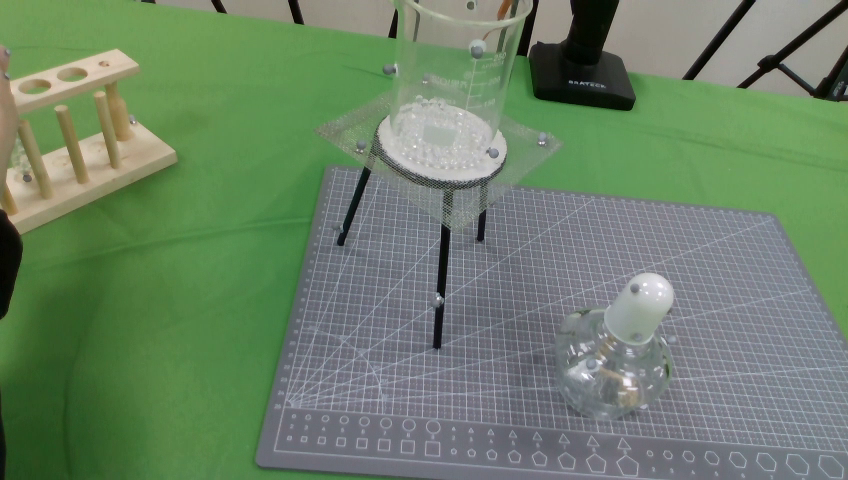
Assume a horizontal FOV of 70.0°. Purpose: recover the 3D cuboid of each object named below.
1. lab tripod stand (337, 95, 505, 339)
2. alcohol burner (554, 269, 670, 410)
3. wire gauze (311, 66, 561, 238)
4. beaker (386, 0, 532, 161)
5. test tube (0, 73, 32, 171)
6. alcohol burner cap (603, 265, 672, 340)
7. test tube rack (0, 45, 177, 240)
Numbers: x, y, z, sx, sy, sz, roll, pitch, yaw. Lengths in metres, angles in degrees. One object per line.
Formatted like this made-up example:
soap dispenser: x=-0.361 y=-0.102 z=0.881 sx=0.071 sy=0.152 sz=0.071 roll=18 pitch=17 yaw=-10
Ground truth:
lab tripod stand: x=0.005 y=-0.023 z=0.444 sx=0.149 sy=0.132 sz=0.147 roll=6 pitch=46 yaw=-6
alcohol burner: x=0.129 y=0.060 z=0.398 sx=0.078 sy=0.120 sz=0.077 roll=6 pitch=44 yaw=-6
wire gauze: x=0.010 y=-0.069 z=0.398 sx=0.124 sy=0.011 sz=0.121 roll=38 pitch=54 yaw=20
beaker: x=0.013 y=-0.105 z=0.364 sx=0.084 sy=0.101 sz=0.073 roll=2 pitch=46 yaw=-8
test tube: x=-0.319 y=-0.116 z=0.446 sx=0.017 sy=0.151 sz=0.017 roll=4 pitch=39 yaw=-3
alcohol burner cap: x=0.133 y=0.036 z=0.371 sx=0.034 sy=0.048 sz=0.033 roll=4 pitch=49 yaw=-5
test tube rack: x=-0.322 y=-0.062 z=0.464 sx=0.066 sy=0.086 sz=0.242 roll=35 pitch=50 yaw=23
